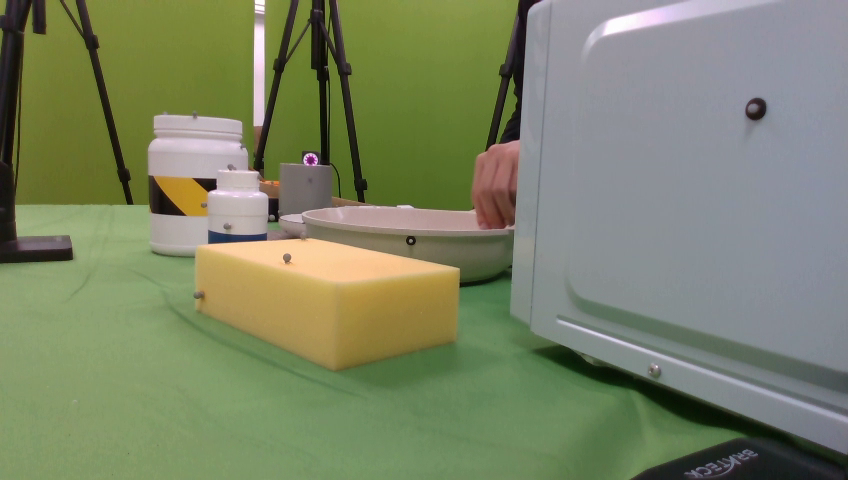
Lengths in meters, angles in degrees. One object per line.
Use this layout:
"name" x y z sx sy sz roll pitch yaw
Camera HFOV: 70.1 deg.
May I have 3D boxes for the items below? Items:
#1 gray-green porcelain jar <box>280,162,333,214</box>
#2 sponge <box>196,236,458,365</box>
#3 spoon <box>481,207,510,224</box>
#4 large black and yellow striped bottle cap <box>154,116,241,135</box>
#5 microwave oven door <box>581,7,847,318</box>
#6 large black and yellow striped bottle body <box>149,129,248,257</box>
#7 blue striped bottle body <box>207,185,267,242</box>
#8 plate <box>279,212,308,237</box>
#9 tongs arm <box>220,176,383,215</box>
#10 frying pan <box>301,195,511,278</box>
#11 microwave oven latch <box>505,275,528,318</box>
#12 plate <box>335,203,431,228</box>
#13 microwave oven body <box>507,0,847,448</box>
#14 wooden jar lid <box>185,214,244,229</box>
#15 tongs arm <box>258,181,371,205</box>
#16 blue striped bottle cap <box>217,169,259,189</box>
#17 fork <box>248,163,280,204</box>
"gray-green porcelain jar" -0.238 -0.092 1.221 0.106 0.126 0.106 2 7 0
"sponge" -0.087 0.039 0.500 0.206 0.061 0.119 8 9 44
"spoon" 0.077 -0.022 0.695 0.193 0.041 0.022 -29 -19 10
"large black and yellow striped bottle cap" -0.314 -0.158 0.843 0.115 0.019 0.115 3 7 0
"microwave oven door" 0.295 -0.067 0.569 0.358 0.243 0.039 -3 8 -31
"large black and yellow striped bottle body" -0.315 -0.075 0.854 0.131 0.184 0.130 2 7 0
"blue striped bottle body" -0.204 -0.016 0.663 0.063 0.120 0.063 2 7 0
"plate" -0.139 -0.022 1.021 0.209 0.038 0.209 2 8 0
"tongs arm" -0.285 -0.104 1.445 0.389 0.027 0.028 9 -4 -23
"frying pan" 0.050 -0.028 0.864 0.305 0.102 0.490 8 18 35
"microwave oven latch" 0.100 0.041 0.472 0.079 0.029 0.030 -2 8 -30
"plate" -0.089 -0.053 1.309 0.208 0.039 0.207 2 8 0
"microwave oven body" 0.331 -0.042 0.425 0.444 0.260 0.324 -2 8 -31
"wooden jar lid" -0.404 -0.037 1.169 0.108 0.020 0.108 3 7 0
"tongs arm" -0.241 -0.095 1.373 0.387 0.026 0.050 9 0 -37
"blue striped bottle cap" -0.202 -0.067 0.656 0.044 0.020 0.044 0 10 0
"fork" -0.396 -0.143 1.486 0.028 0.018 0.208 20 -26 45
